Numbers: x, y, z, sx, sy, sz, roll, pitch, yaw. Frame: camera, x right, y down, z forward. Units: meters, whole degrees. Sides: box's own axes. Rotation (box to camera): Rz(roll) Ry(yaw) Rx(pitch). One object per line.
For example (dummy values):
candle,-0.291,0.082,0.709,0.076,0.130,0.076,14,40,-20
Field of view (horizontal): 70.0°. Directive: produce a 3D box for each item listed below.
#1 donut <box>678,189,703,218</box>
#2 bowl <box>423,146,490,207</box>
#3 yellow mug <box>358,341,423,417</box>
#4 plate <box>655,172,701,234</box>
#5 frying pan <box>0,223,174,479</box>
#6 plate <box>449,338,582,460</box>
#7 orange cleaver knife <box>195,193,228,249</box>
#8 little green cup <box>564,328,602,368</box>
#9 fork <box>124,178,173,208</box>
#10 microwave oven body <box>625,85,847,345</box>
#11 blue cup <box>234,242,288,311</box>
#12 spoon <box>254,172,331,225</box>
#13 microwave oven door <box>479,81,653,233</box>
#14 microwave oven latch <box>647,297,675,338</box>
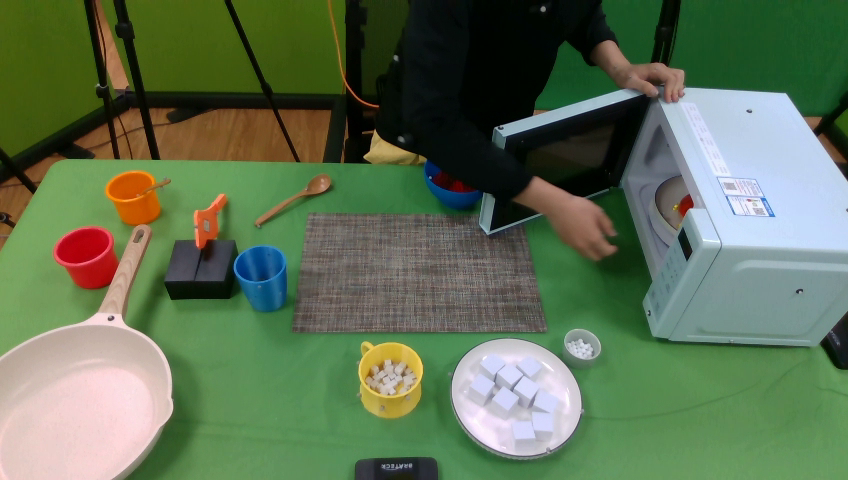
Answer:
donut,0.542,-0.062,1.173,0.099,0.048,0.098,2,43,-2
bowl,0.073,-0.123,1.277,0.151,0.077,0.150,2,46,-2
yellow mug,-0.062,0.209,0.961,0.100,0.064,0.130,-29,54,-27
plate,0.555,-0.055,1.181,0.209,0.038,0.208,0,45,1
frying pan,-0.505,0.169,0.941,0.307,0.103,0.485,5,54,-1
plate,0.141,0.251,0.955,0.208,0.039,0.206,2,46,-2
orange cleaver knife,-0.406,-0.042,1.163,0.012,0.077,0.210,-1,18,-3
little green cup,0.266,0.185,1.025,0.061,0.039,0.061,2,43,-2
fork,-0.525,-0.090,1.154,0.207,0.019,0.028,-17,27,45
microwave oven body,0.568,-0.054,1.116,0.326,0.261,0.439,2,46,-1
blue cup,-0.276,0.071,1.052,0.092,0.101,0.092,1,48,-1
spoon,-0.272,-0.087,1.257,0.041,0.022,0.193,46,57,12
microwave oven door,0.279,-0.164,1.194,0.356,0.245,0.039,-20,51,-21
microwave oven latch,0.413,0.133,1.060,0.030,0.029,0.078,5,46,2
